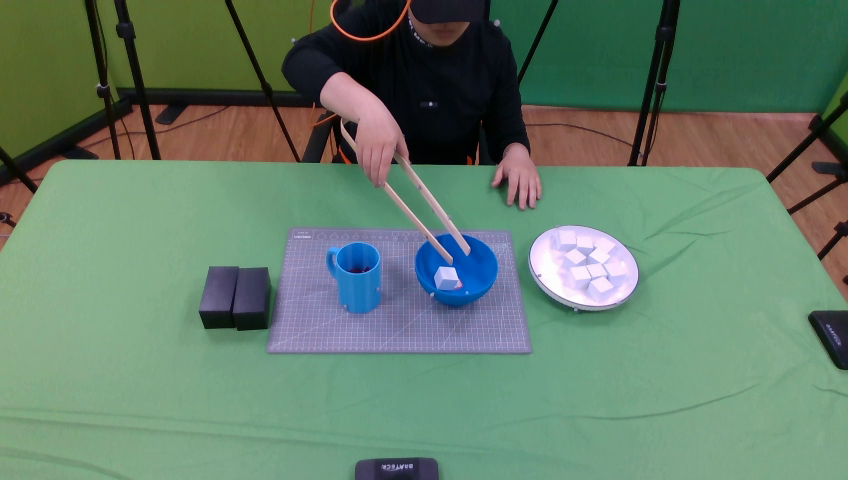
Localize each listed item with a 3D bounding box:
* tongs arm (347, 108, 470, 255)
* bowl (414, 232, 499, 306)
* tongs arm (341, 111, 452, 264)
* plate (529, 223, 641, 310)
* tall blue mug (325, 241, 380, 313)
[{"bbox_3d":[-0.037,-0.115,1.134,0.051,0.026,0.382,-25,64,-19],"label":"tongs arm"},{"bbox_3d":[0.056,0.066,1.095,0.151,0.077,0.150,2,46,-2],"label":"bowl"},{"bbox_3d":[-0.059,-0.104,1.124,0.028,0.028,0.385,-30,66,-17],"label":"tongs arm"},{"bbox_3d":[0.303,0.053,1.156,0.209,0.038,0.208,2,46,-2],"label":"plate"},{"bbox_3d":[-0.130,0.063,1.062,0.107,0.108,0.077,9,47,5],"label":"tall blue mug"}]
